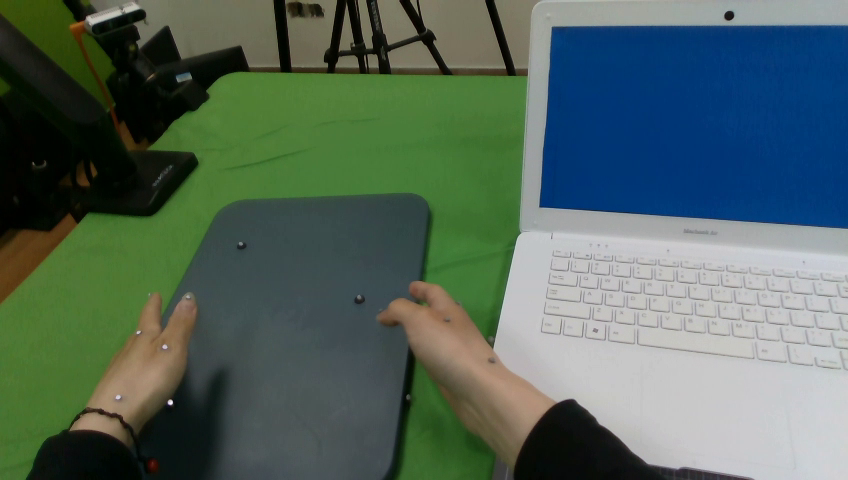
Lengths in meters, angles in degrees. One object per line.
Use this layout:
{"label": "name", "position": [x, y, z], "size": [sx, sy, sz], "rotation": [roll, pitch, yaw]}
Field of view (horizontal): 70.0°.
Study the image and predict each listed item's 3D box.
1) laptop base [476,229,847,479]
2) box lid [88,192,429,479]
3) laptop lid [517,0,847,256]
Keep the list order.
{"label": "laptop base", "position": [0.237, 0.090, 0.514], "size": [0.353, 0.023, 0.233], "rotation": [5, 48, 15]}
{"label": "box lid", "position": [-0.138, 0.077, 0.603], "size": [0.263, 0.015, 0.368], "rotation": [-2, 43, 9]}
{"label": "laptop lid", "position": [0.268, -0.103, 0.563], "size": [0.355, 0.242, 0.013], "rotation": [3, 15, 15]}
